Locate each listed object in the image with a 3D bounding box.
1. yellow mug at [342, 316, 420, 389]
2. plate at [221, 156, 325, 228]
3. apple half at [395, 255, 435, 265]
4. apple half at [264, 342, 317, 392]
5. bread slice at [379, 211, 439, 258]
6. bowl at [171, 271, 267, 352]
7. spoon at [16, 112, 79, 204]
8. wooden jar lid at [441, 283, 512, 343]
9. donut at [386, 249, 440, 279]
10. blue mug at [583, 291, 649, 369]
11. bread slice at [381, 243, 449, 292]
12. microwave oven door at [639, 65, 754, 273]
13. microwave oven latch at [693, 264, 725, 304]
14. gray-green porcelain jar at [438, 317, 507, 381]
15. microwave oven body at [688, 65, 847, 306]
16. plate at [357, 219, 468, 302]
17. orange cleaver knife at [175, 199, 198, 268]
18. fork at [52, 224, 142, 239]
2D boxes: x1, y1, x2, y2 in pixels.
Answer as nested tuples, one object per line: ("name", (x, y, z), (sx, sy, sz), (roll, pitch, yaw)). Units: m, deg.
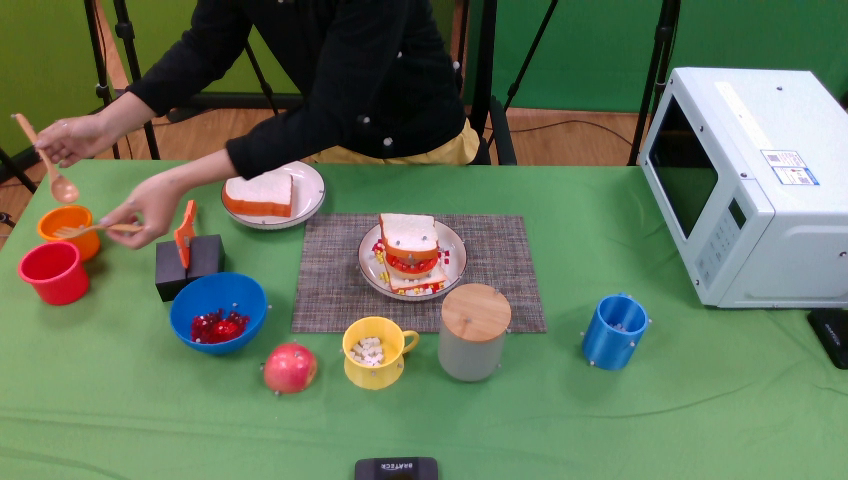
("yellow mug", (-0.067, 0.178, 0.990), (0.131, 0.064, 0.099), (-16, 49, -19))
("plate", (-0.308, -0.095, 1.251), (0.209, 0.038, 0.208), (3, 46, -3))
("apple half", (-0.017, 0.005, 1.084), (0.081, 0.033, 0.081), (5, 49, -6))
("apple half", (-0.214, 0.198, 0.970), (0.074, 0.053, 0.080), (19, 48, 11))
("bread slice", (-0.024, -0.012, 1.064), (0.105, 0.019, 0.130), (3, 33, -10))
("bowl", (-0.332, 0.132, 1.006), (0.151, 0.077, 0.150), (2, 46, -2))
("spoon", (-0.669, -0.146, 1.072), (0.041, 0.021, 0.193), (-29, 88, -30))
("wooden jar lid", (0.080, 0.114, 0.931), (0.108, 0.021, 0.107), (1, 49, -1))
("donut", (-0.021, 0.029, 1.110), (0.099, 0.048, 0.098), (2, 46, -2))
("blue mug", (0.324, 0.142, 1.023), (0.082, 0.106, 0.116), (15, 47, 11))
("bread slice", (-0.027, 0.039, 1.139), (0.107, 0.018, 0.133), (-12, 47, -16))
("microwave oven door", (0.522, -0.147, 1.192), (0.039, 0.245, 0.353), (0, 47, -3))
("microwave oven latch", (0.522, 0.081, 1.115), (0.030, 0.029, 0.078), (2, 46, -1))
("gray-green porcelain jar", (0.076, 0.158, 0.977), (0.106, 0.127, 0.105), (2, 46, -2))
("microwave oven body", (0.669, -0.112, 1.176), (0.326, 0.261, 0.439), (0, 46, -3))
("plate", (-0.021, 0.037, 1.141), (0.208, 0.039, 0.206), (2, 46, -2))
("orange cleaver knife", (-0.438, -0.017, 1.138), (0.012, 0.077, 0.210), (-14, 27, -7))
("fork", (-0.515, -0.015, 0.951), (0.207, 0.019, 0.028), (-3, 31, 29))
